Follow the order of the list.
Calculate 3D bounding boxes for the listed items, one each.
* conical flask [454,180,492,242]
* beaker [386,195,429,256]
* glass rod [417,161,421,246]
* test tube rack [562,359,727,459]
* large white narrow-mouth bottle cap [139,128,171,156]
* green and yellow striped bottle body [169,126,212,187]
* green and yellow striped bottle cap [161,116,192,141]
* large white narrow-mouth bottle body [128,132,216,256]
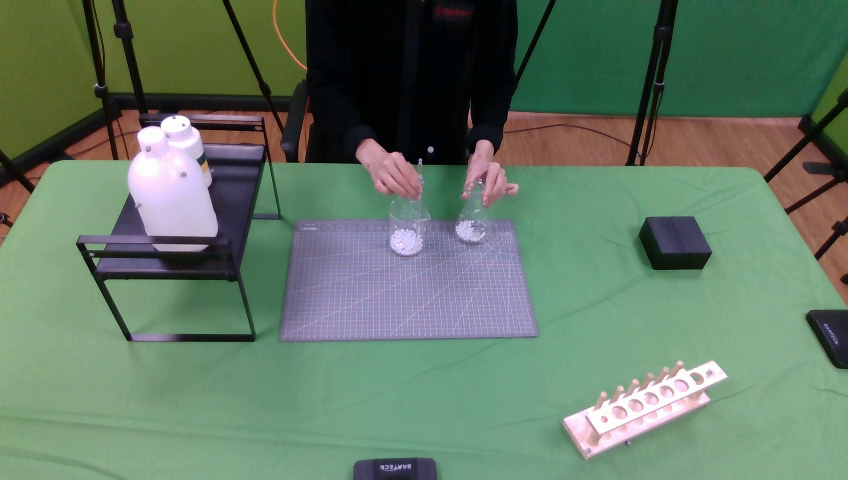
[{"bbox_3d":[0.097,-0.059,1.179,0.075,0.122,0.075,-1,46,1],"label":"conical flask"},{"bbox_3d":[-0.031,-0.024,1.161,0.084,0.101,0.073,18,48,12],"label":"beaker"},{"bbox_3d":[-0.010,-0.062,1.105,0.008,0.201,0.008,1,43,0],"label":"glass rod"},{"bbox_3d":[0.341,0.247,0.940,0.243,0.085,0.066,-16,49,-18],"label":"test tube rack"},{"bbox_3d":[-0.358,-0.131,0.808,0.038,0.024,0.037,3,47,-3],"label":"large white narrow-mouth bottle cap"},{"bbox_3d":[-0.389,-0.139,0.984,0.063,0.120,0.063,2,46,-2],"label":"green and yellow striped bottle body"},{"bbox_3d":[-0.387,-0.174,0.946,0.045,0.020,0.045,3,44,-3],"label":"green and yellow striped bottle cap"},{"bbox_3d":[-0.366,-0.073,0.872,0.102,0.195,0.101,3,47,-3],"label":"large white narrow-mouth bottle body"}]
